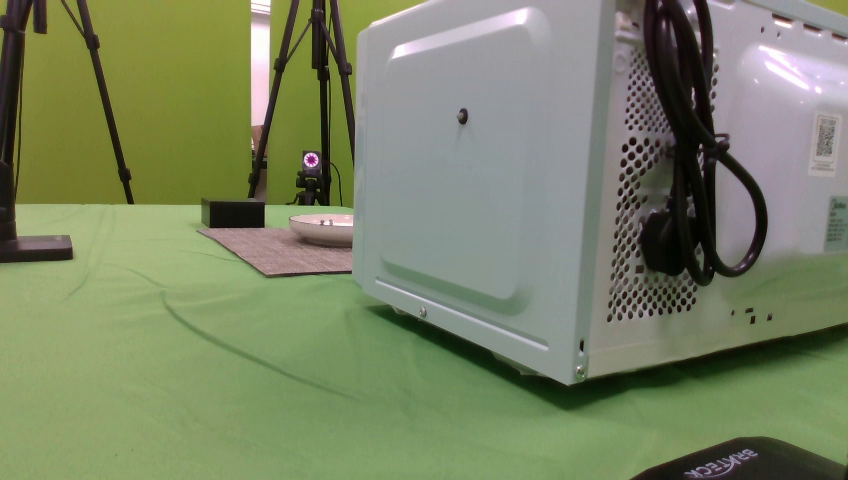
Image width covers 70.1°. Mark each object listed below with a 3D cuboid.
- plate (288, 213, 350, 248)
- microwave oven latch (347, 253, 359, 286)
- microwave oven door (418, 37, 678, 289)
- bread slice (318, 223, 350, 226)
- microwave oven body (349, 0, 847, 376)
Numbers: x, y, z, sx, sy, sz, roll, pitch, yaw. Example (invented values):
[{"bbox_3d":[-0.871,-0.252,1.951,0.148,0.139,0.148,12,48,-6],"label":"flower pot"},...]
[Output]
[{"bbox_3d":[-0.122,-0.017,1.008,0.209,0.038,0.209,3,8,0],"label":"plate"},{"bbox_3d":[-0.034,0.028,0.581,0.079,0.029,0.030,-1,7,-31],"label":"microwave oven latch"},{"bbox_3d":[0.159,-0.079,0.684,0.358,0.243,0.039,-2,9,-32],"label":"microwave oven door"},{"bbox_3d":[-0.122,-0.015,1.004,0.131,0.019,0.105,4,7,12],"label":"bread slice"},{"bbox_3d":[0.199,-0.053,0.539,0.444,0.260,0.324,-1,8,-32],"label":"microwave oven body"}]
